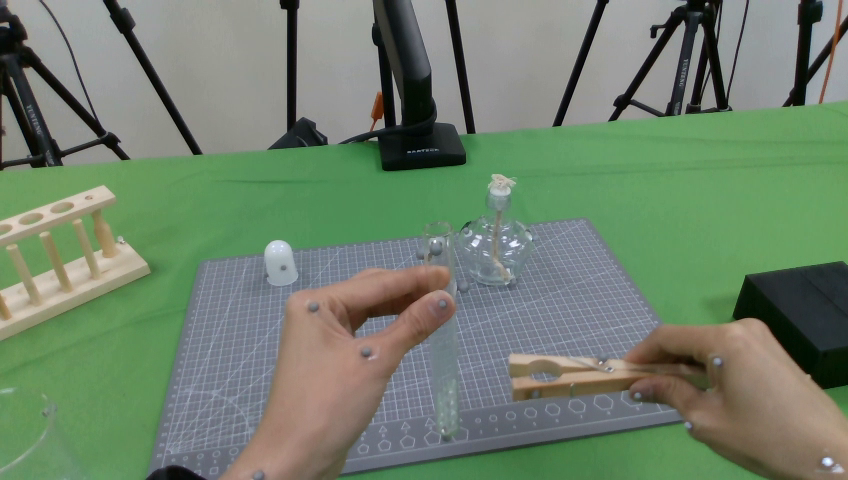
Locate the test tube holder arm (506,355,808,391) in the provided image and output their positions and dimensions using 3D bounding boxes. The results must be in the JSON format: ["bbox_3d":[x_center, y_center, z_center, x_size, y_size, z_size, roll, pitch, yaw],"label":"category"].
[{"bbox_3d":[0.140,0.081,0.371,0.178,0.015,0.013,1,45,3],"label":"test tube holder arm"}]

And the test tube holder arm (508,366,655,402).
[{"bbox_3d":[0.095,0.086,0.367,0.088,0.015,0.010,-6,44,-4],"label":"test tube holder arm"}]

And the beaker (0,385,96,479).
[{"bbox_3d":[-0.267,0.157,0.398,0.084,0.101,0.073,-2,35,1],"label":"beaker"}]

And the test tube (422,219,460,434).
[{"bbox_3d":[0.011,0.055,0.336,0.017,0.151,0.017,-2,34,2],"label":"test tube"}]

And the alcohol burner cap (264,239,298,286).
[{"bbox_3d":[-0.152,0.021,0.632,0.034,0.048,0.033,-2,35,1],"label":"alcohol burner cap"}]

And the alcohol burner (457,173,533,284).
[{"bbox_3d":[0.073,-0.015,0.611,0.078,0.120,0.077,0,35,0],"label":"alcohol burner"}]

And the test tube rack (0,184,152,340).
[{"bbox_3d":[-0.407,0.036,0.588,0.242,0.086,0.066,-29,44,-33],"label":"test tube rack"}]
